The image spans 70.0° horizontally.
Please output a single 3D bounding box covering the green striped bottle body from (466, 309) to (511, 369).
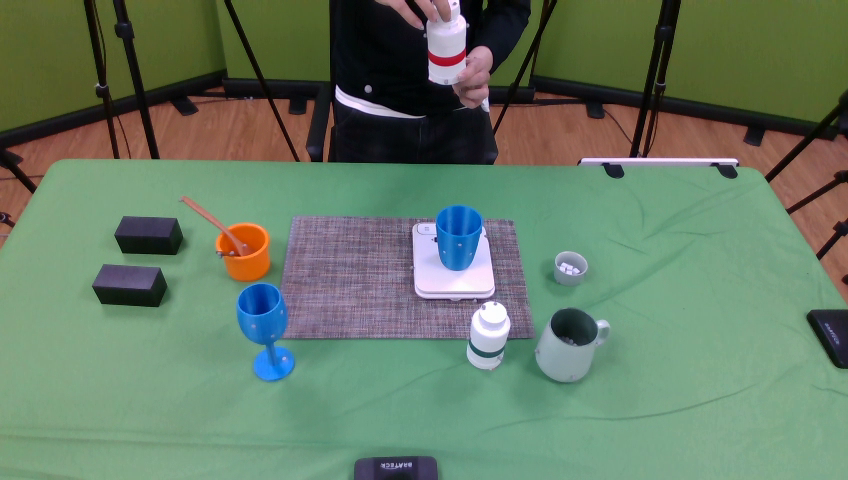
[{"bbox_3d":[0.106,0.154,0.988,0.063,0.120,0.063,2,46,-2],"label":"green striped bottle body"}]

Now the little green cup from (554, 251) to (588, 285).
[{"bbox_3d":[0.276,0.055,1.151,0.061,0.039,0.061,1,46,-1],"label":"little green cup"}]

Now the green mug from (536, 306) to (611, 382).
[{"bbox_3d":[0.250,0.167,0.996,0.125,0.105,0.092,-16,49,-18],"label":"green mug"}]

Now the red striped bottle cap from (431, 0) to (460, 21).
[{"bbox_3d":[0.033,-0.352,0.923,0.044,0.018,0.044,-4,46,5],"label":"red striped bottle cap"}]

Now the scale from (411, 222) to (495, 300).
[{"bbox_3d":[0.052,0.031,1.158,0.149,0.032,0.199,1,46,-4],"label":"scale"}]

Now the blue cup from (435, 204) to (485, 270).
[{"bbox_3d":[0.061,0.001,1.097,0.092,0.101,0.092,0,44,0],"label":"blue cup"}]

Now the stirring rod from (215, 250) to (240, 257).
[{"bbox_3d":[-0.339,0.024,1.059,0.014,0.176,0.006,16,86,-6],"label":"stirring rod"}]

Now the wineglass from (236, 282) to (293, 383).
[{"bbox_3d":[-0.243,0.143,0.934,0.074,0.173,0.073,2,46,-2],"label":"wineglass"}]

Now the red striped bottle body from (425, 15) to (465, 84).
[{"bbox_3d":[0.035,-0.317,0.973,0.063,0.120,0.062,-2,54,2],"label":"red striped bottle body"}]

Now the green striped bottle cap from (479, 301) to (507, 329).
[{"bbox_3d":[0.109,0.117,0.950,0.044,0.020,0.044,2,47,-2],"label":"green striped bottle cap"}]

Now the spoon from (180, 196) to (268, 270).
[{"bbox_3d":[-0.359,-0.014,1.094,0.021,0.194,0.041,-28,26,31],"label":"spoon"}]
